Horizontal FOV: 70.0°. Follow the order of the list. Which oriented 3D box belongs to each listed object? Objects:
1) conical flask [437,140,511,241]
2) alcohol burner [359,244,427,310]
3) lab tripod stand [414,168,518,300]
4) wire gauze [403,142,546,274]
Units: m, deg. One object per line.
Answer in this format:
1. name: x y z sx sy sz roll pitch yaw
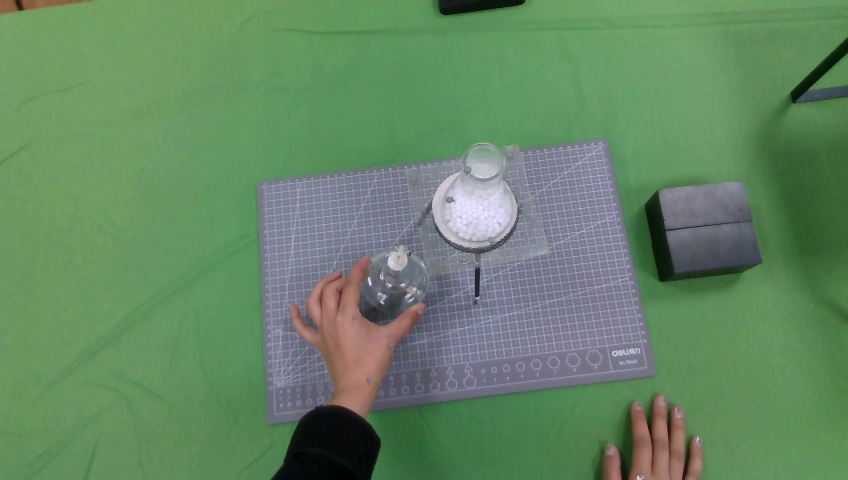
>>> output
1. conical flask: 0.049 -0.050 0.559 0.075 0.122 0.075 0 73 1
2. alcohol burner: -0.034 0.036 0.676 0.078 0.120 0.077 2 68 -4
3. lab tripod stand: 0.054 -0.018 0.680 0.148 0.132 0.147 0 73 1
4. wire gauze: 0.050 -0.033 0.616 0.125 0.011 0.121 -11 77 -5
